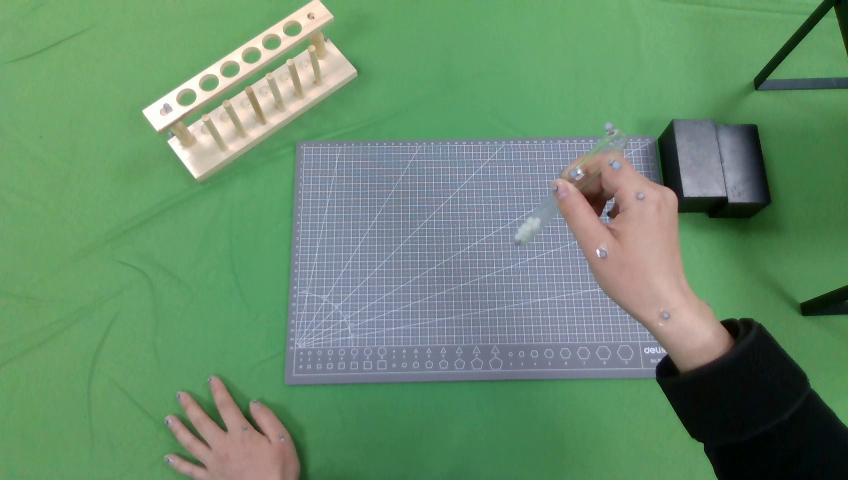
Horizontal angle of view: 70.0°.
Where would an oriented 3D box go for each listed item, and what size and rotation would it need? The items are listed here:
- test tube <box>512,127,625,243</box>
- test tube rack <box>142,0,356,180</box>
[{"bbox_3d":[0.100,-0.034,0.448,0.017,0.151,0.017,8,63,-15],"label":"test tube"},{"bbox_3d":[-0.203,-0.182,0.734,0.242,0.085,0.066,-38,76,-11],"label":"test tube rack"}]
